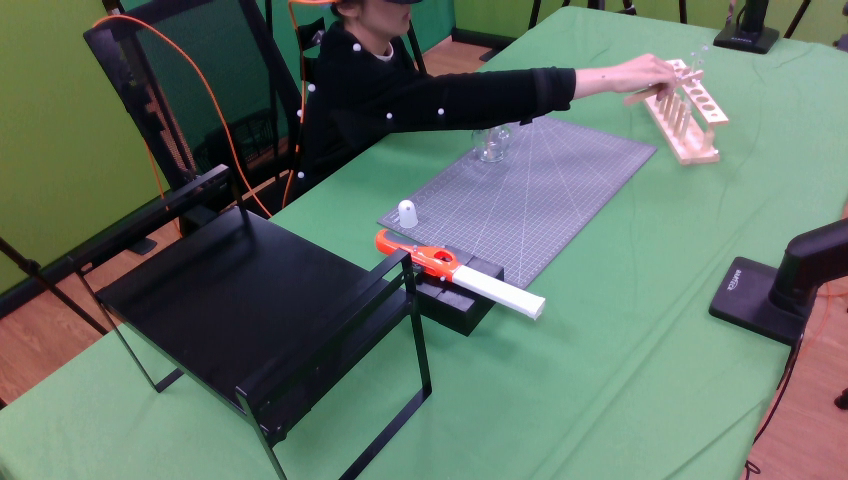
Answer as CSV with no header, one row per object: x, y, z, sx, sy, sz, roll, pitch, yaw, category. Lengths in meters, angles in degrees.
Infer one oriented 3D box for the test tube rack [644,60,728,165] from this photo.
0.485,-0.246,1.139,0.067,0.085,0.241,-5,41,4,test tube rack

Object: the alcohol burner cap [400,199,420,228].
-0.025,-0.047,1.014,0.034,0.048,0.033,-4,42,4,alcohol burner cap

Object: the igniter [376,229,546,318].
0.040,0.042,0.845,0.274,0.025,0.057,23,46,27,igniter

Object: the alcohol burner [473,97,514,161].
0.128,-0.208,1.123,0.078,0.119,0.077,-5,39,4,alcohol burner

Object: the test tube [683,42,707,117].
0.497,-0.292,1.114,0.017,0.151,0.017,-4,45,4,test tube

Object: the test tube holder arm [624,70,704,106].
0.419,-0.265,1.050,0.179,0.015,0.013,-23,37,-21,test tube holder arm

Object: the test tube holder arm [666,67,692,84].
0.451,-0.286,1.073,0.010,0.015,0.088,24,46,36,test tube holder arm
